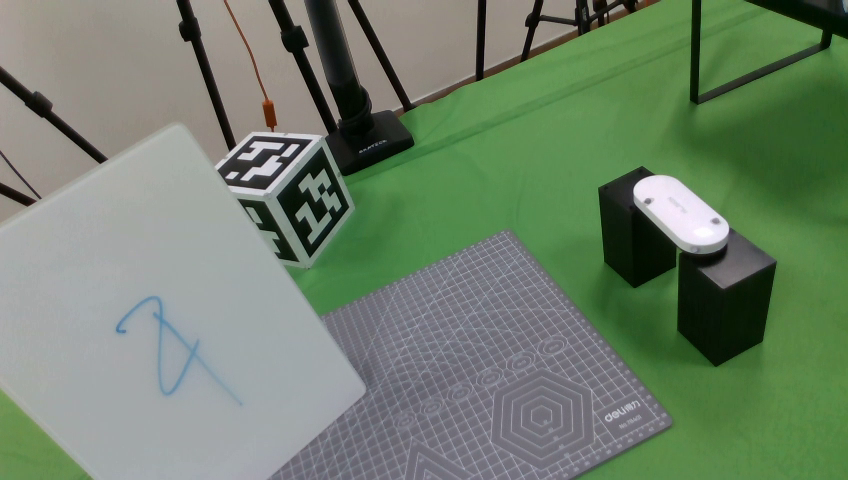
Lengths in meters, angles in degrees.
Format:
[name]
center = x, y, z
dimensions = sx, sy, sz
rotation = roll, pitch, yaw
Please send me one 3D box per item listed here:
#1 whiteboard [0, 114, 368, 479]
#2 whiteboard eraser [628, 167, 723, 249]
[whiteboard]
center = -0.235, 0.076, 0.551
dimensions = 0.217, 0.308, 0.143
rotation = -39, 25, -20
[whiteboard eraser]
center = 0.212, -0.031, 0.516
dimensions = 0.041, 0.019, 0.100
rotation = -21, 42, -4
